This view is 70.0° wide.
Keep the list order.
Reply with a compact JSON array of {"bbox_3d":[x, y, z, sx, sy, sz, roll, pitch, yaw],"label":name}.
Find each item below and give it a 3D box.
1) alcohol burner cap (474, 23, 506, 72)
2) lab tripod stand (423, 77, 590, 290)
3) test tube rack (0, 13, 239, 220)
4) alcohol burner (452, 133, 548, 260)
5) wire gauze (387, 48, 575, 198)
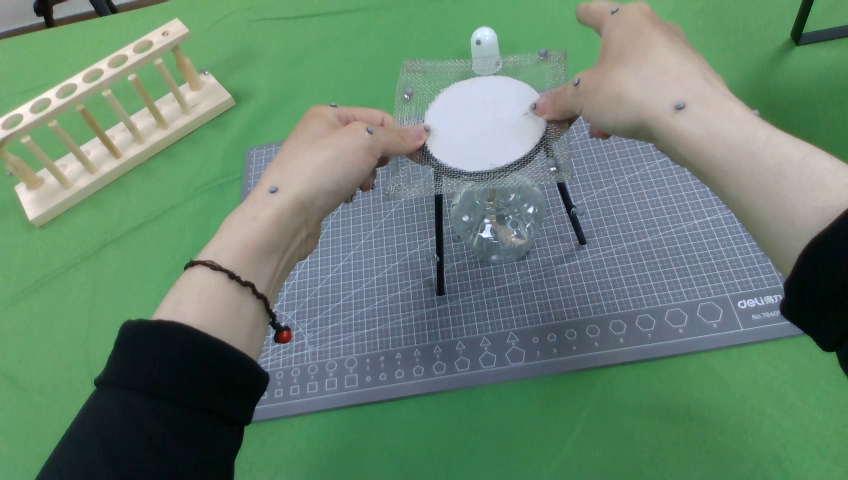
[{"bbox_3d":[0.068,-0.204,0.634,0.034,0.048,0.033,-6,56,9],"label":"alcohol burner cap"},{"bbox_3d":[0.053,-0.042,0.465,0.148,0.133,0.147,-6,58,9],"label":"lab tripod stand"},{"bbox_3d":[-0.329,-0.132,0.640,0.242,0.086,0.066,-36,57,-13],"label":"test tube rack"},{"bbox_3d":[0.057,-0.037,0.474,0.078,0.120,0.077,-6,54,9],"label":"alcohol burner"},{"bbox_3d":[0.038,-0.085,0.412,0.121,0.011,0.124,-1,61,11],"label":"wire gauze"}]
